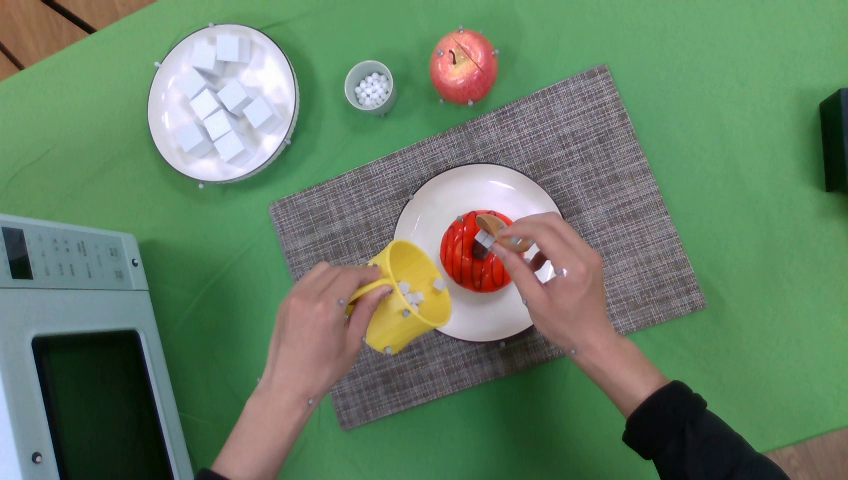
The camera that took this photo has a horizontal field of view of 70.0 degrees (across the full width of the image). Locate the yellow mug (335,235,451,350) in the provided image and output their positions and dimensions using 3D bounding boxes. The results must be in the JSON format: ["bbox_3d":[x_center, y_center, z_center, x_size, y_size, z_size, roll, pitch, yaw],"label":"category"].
[{"bbox_3d":[-0.036,0.053,0.599,0.064,0.131,0.099,-32,72,26],"label":"yellow mug"}]

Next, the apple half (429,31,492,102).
[{"bbox_3d":[0.037,-0.194,0.711,0.053,0.075,0.080,-42,83,10],"label":"apple half"}]

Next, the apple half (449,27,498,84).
[{"bbox_3d":[0.065,-0.220,0.706,0.033,0.081,0.081,-42,79,10],"label":"apple half"}]

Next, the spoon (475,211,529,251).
[{"bbox_3d":[0.073,-0.006,0.560,0.042,0.193,0.021,37,97,-7],"label":"spoon"}]

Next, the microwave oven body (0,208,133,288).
[{"bbox_3d":[-0.492,0.227,0.689,0.326,0.261,0.440,-18,83,9],"label":"microwave oven body"}]

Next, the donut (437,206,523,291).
[{"bbox_3d":[0.064,0.009,0.694,0.099,0.048,0.099,-1,88,11],"label":"donut"}]

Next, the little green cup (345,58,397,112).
[{"bbox_3d":[-0.063,-0.189,0.748,0.061,0.039,0.061,-1,85,12],"label":"little green cup"}]

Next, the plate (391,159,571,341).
[{"bbox_3d":[0.065,0.011,0.705,0.209,0.038,0.208,-1,86,11],"label":"plate"}]

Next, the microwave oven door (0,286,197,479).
[{"bbox_3d":[-0.345,0.222,0.654,0.039,0.245,0.354,-18,82,10],"label":"microwave oven door"}]

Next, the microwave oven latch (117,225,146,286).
[{"bbox_3d":[-0.384,0.022,0.780,0.030,0.029,0.079,-16,84,9],"label":"microwave oven latch"}]

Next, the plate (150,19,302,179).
[{"bbox_3d":[-0.253,-0.179,0.786,0.207,0.039,0.207,-1,86,12],"label":"plate"}]
